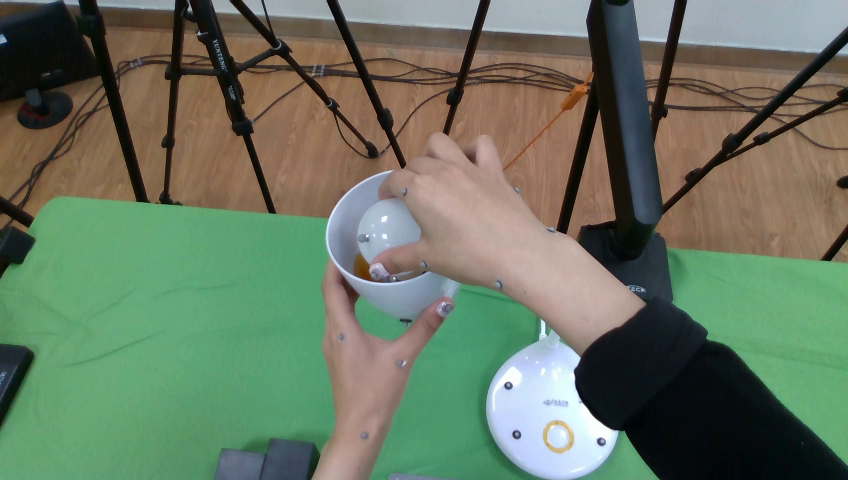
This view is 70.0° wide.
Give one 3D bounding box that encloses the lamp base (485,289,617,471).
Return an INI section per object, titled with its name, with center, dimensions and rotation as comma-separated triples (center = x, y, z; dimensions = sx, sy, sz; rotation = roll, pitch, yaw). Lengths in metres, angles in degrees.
[lamp base]
center = 0.152, 0.147, 0.682
dimensions = 0.161, 0.182, 0.177
rotation = -7, 55, -4

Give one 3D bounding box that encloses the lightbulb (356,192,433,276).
[lightbulb]
center = -0.019, 0.004, 0.488
dimensions = 0.059, 0.108, 0.059
rotation = -4, 61, 9

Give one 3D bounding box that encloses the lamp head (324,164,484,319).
[lamp head]
center = -0.010, 0.013, 0.510
dimensions = 0.112, 0.124, 0.111
rotation = -9, 56, 13
